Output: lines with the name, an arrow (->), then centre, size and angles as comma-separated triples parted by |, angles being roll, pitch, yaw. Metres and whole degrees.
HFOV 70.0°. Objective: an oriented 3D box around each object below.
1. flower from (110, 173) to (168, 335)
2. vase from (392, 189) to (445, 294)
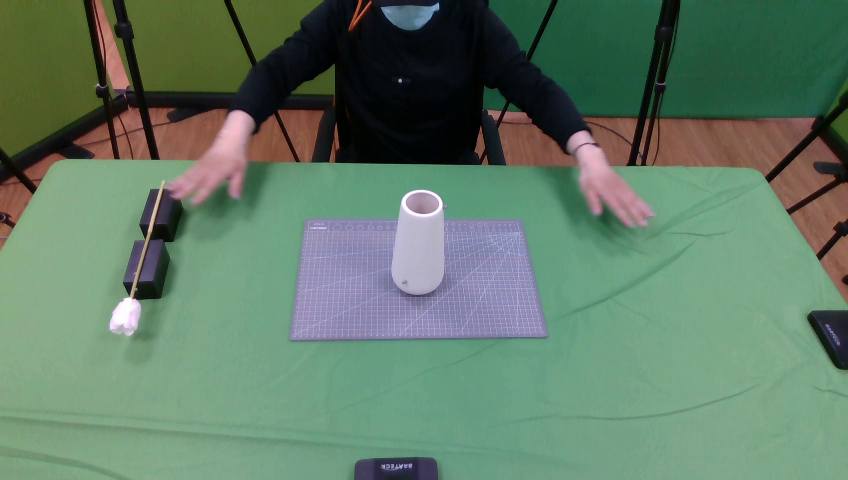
flower -> -0.497, 0.008, 1.087 | 0.044, 0.038, 0.359 | -12, 51, 9
vase -> -0.007, 0.006, 1.060 | 0.098, 0.201, 0.097 | 2, 48, -2
